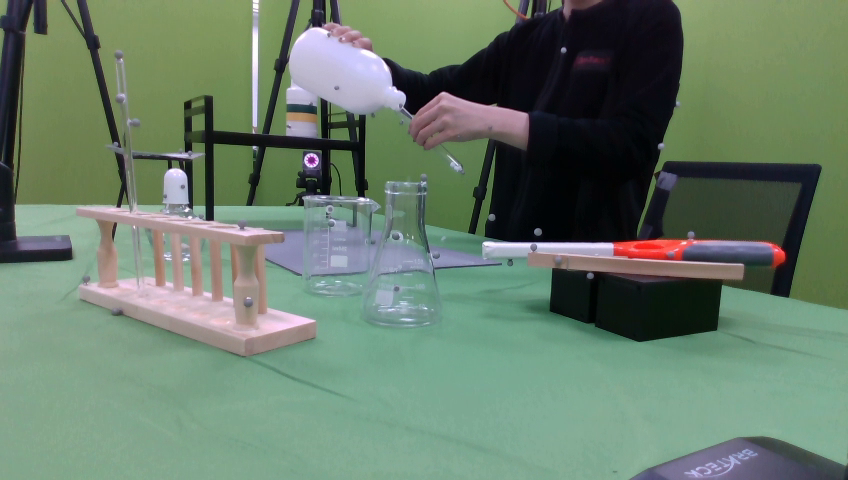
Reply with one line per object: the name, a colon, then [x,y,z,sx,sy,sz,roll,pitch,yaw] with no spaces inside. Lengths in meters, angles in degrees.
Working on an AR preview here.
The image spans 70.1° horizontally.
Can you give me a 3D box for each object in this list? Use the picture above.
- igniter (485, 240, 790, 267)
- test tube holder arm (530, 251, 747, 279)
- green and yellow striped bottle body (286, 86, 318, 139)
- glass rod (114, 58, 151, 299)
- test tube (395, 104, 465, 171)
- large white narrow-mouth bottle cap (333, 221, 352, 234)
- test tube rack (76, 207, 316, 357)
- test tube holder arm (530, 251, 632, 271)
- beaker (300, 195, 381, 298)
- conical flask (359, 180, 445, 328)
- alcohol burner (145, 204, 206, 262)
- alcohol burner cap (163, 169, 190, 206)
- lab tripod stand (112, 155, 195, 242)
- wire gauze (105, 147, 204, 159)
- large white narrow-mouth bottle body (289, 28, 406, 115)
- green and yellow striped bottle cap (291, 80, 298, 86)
igniter: [0.197,0.012,0.585,0.276,0.025,0.057,1,5,12]
test tube holder arm: [0.182,0.022,0.523,0.178,0.015,0.013,3,7,12]
green and yellow striped bottle body: [-0.251,-0.270,1.245,0.063,0.119,0.063,2,7,0]
glass rod: [-0.236,-0.044,0.492,0.008,0.199,0.008,0,15,0]
test tube: [0.009,-0.158,0.935,0.150,0.017,0.017,46,24,16]
large white narrow-mouth bottle cap: [-0.152,-0.024,1.134,0.038,0.024,0.037,4,7,0]
test tube rack: [-0.196,0.023,0.500,0.241,0.085,0.067,8,9,36]
test tube holder arm: [0.139,0.019,0.538,0.087,0.015,0.010,3,7,13]
beaker: [-0.087,0.006,0.626,0.084,0.100,0.074,1,8,-17]
conical flask: [-0.017,0.010,0.522,0.075,0.122,0.075,2,7,0]
alcohol burner: [-0.322,-0.032,0.788,0.078,0.119,0.078,1,7,0]
alcohol burner cap: [-0.320,-0.068,0.782,0.034,0.048,0.034,1,7,0]
lab tripod stand: [-0.405,-0.064,0.931,0.148,0.131,0.148,1,6,0]
wire gauze: [-0.407,-0.131,0.929,0.125,0.011,0.121,2,6,-11]
large white narrow-mouth bottle body: [-0.116,-0.262,0.981,0.194,0.101,0.102,29,15,15]
green and yellow striped bottle cap: [-0.250,-0.321,1.238,0.045,0.020,0.045,3,6,0]
